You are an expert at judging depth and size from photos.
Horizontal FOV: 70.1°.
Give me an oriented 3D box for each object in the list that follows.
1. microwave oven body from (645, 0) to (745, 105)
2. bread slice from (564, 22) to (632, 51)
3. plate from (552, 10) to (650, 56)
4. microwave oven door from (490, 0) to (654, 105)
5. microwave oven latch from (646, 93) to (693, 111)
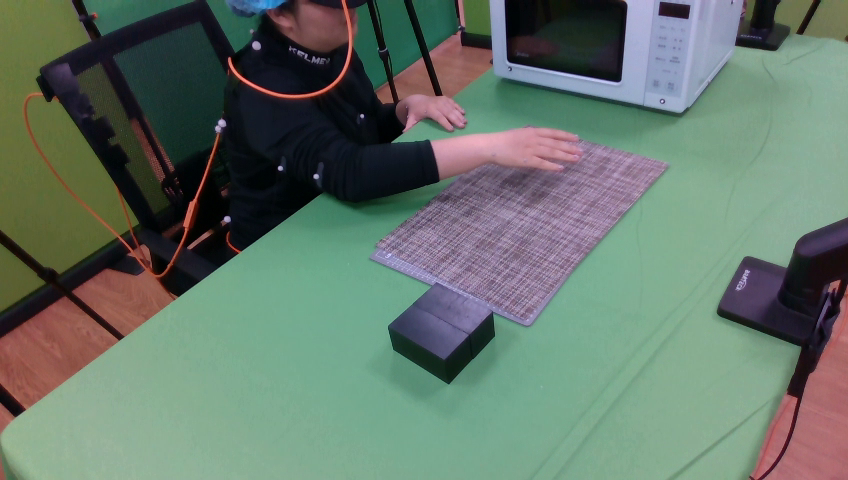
[{"bbox_3d":[0.416,-0.486,1.290,0.438,0.261,0.327,21,50,33],"label":"microwave oven body"},{"bbox_3d":[0.394,-0.453,1.344,0.105,0.019,0.130,-36,42,-26],"label":"bread slice"},{"bbox_3d":[0.391,-0.454,1.339,0.209,0.038,0.208,-5,39,5],"label":"plate"},{"bbox_3d":[0.293,-0.420,1.228,0.353,0.245,0.039,22,49,32],"label":"microwave oven door"},{"bbox_3d":[0.477,-0.273,1.177,0.078,0.029,0.030,22,50,33],"label":"microwave oven latch"}]
